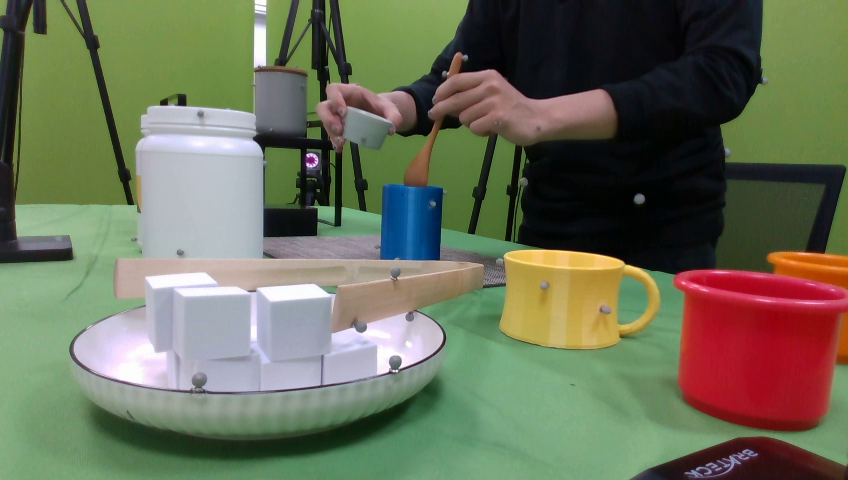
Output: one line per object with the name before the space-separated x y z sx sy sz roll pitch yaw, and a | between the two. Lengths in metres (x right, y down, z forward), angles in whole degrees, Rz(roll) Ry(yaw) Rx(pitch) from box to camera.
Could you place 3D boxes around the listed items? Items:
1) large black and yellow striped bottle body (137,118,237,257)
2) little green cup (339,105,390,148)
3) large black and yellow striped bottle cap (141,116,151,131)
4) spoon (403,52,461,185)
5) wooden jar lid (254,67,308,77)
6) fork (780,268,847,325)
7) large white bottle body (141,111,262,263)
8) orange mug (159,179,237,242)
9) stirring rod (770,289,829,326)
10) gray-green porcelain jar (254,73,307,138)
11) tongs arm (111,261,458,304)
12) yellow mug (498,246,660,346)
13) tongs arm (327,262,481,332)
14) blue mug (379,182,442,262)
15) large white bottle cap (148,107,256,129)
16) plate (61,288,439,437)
large black and yellow striped bottle body | -0.330 -0.075 0.849 0.131 0.184 0.130 2 8 0
little green cup | -0.078 -0.145 0.774 0.061 0.038 0.061 20 15 -5
large black and yellow striped bottle cap | -0.328 -0.158 0.837 0.115 0.019 0.115 2 6 0
spoon | 0.012 -0.147 0.780 0.041 0.193 0.022 31 18 36
wooden jar lid | -0.296 -0.339 1.251 0.108 0.020 0.108 2 7 0
fork | 0.324 0.018 0.441 0.028 0.018 0.207 -3 -36 -5
large white bottle body | -0.254 -0.053 0.697 0.131 0.184 0.130 2 7 0
orange mug | -0.368 -0.051 0.991 0.127 0.101 0.083 -10 14 -41
stirring rod | 0.349 0.022 0.468 0.014 0.006 0.175 -12 -26 -50
gray-green porcelain jar | -0.298 -0.277 1.259 0.106 0.126 0.106 3 8 0
tongs arm | -0.080 0.032 0.527 0.028 0.027 0.389 -3 -3 33
yellow mug | 0.130 0.045 0.508 0.131 0.064 0.100 4 7 6
tongs arm | -0.003 0.036 0.493 0.050 0.026 0.386 1 0 19
blue mug | -0.019 -0.026 0.832 0.082 0.106 0.116 1 7 -5
large white bottle cap | -0.250 -0.137 0.686 0.115 0.018 0.115 2 8 0
plate | -0.095 0.069 0.362 0.208 0.039 0.207 3 7 0
